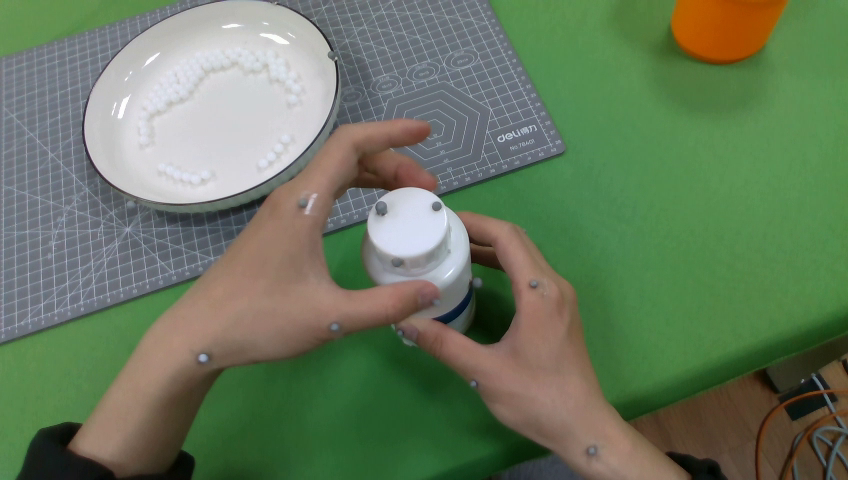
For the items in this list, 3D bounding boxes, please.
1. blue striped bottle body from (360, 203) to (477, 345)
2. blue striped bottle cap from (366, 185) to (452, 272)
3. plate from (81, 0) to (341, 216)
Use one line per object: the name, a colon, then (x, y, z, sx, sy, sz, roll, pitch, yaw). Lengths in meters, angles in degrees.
blue striped bottle body: (-0.002, 0.017, 0.368, 0.063, 0.122, 0.062, -3, 63, 6)
blue striped bottle cap: (-0.008, -0.007, 0.321, 0.044, 0.021, 0.044, -3, 59, 6)
plate: (-0.166, -0.107, 0.492, 0.207, 0.039, 0.206, -2, 63, 5)
